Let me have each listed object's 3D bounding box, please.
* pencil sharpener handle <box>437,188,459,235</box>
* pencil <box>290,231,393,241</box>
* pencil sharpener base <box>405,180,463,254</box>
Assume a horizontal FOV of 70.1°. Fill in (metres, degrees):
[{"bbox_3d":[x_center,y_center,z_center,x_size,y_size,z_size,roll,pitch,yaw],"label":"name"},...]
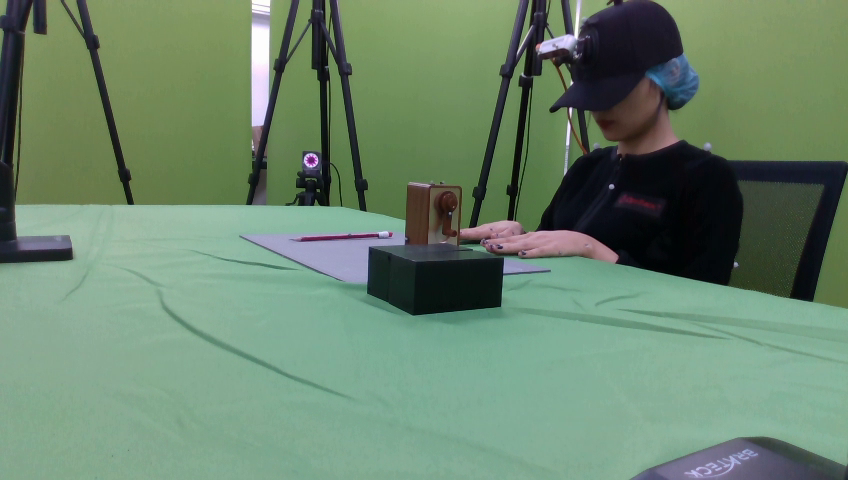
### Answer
[{"bbox_3d":[0.041,-0.041,0.877,0.036,0.067,0.030,1,7,-30],"label":"pencil sharpener handle"},{"bbox_3d":[-0.136,-0.006,1.029,0.195,0.012,0.012,-4,9,-35],"label":"pencil"},{"bbox_3d":[0.016,-0.035,0.922,0.061,0.107,0.076,-1,9,-30],"label":"pencil sharpener base"}]
